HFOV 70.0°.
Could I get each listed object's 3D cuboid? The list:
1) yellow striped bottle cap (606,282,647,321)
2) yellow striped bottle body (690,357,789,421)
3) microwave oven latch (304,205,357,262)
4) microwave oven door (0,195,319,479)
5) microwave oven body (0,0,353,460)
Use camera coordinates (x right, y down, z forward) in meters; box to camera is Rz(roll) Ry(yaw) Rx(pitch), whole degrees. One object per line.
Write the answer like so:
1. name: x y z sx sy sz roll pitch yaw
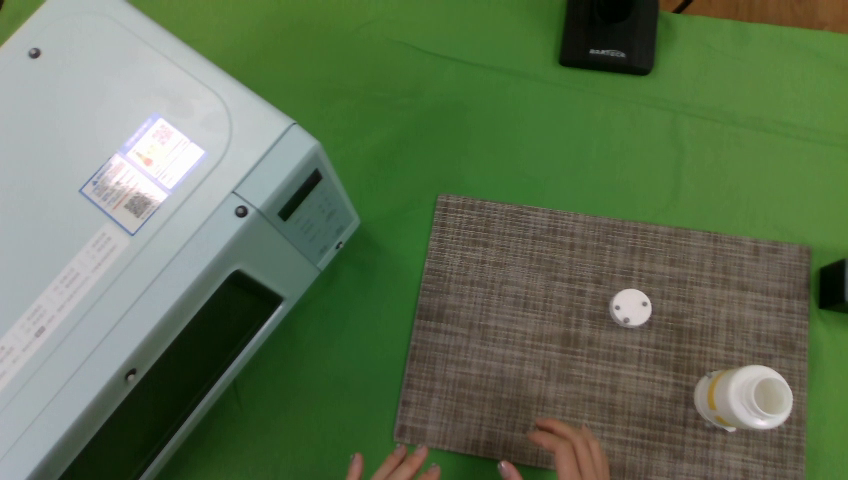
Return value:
1. yellow striped bottle cap: 0.236 0.072 0.707 0.044 0.019 0.044 -1 76 4
2. yellow striped bottle body: 0.327 0.155 0.626 0.063 0.121 0.062 -1 75 3
3. microwave oven latch: -0.112 -0.013 0.719 0.030 0.029 0.079 38 81 11
4. microwave oven door: -0.251 0.131 0.584 0.039 0.245 0.355 35 80 12
5. microwave oven body: -0.343 0.017 0.623 0.325 0.261 0.441 36 81 10
